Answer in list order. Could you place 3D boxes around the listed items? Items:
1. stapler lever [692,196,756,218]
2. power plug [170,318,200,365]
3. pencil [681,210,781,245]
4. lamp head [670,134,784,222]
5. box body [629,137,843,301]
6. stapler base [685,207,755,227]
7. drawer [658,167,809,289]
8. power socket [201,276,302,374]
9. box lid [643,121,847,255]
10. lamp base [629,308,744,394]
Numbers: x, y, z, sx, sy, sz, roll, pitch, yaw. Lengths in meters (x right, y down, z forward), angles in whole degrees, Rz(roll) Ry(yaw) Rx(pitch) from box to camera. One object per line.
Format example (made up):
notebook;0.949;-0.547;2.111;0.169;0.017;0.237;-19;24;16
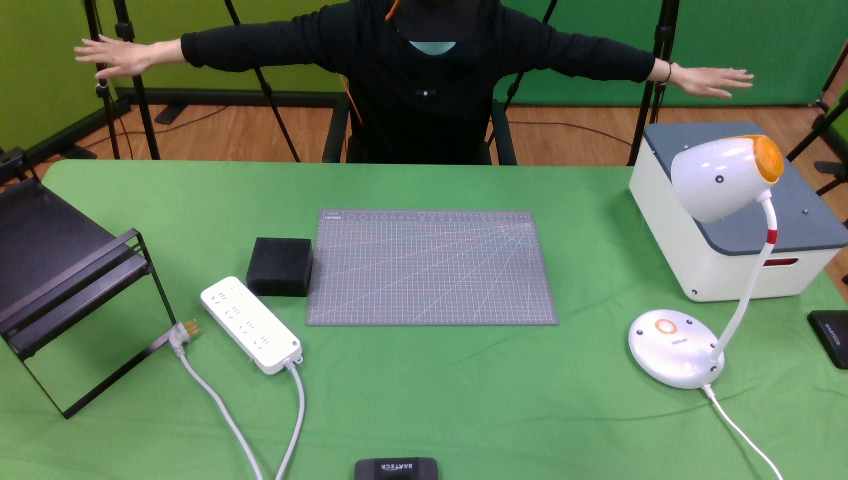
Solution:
stapler lever;0.588;-0.065;1.185;0.118;0.040;0.026;2;57;12
power plug;-0.392;0.167;1.013;0.052;0.035;0.072;-31;89;-23
pencil;0.599;-0.027;1.186;0.194;0.012;0.012;19;48;10
lamp head;0.422;-0.089;0.829;0.113;0.123;0.112;8;74;-32
box body;0.593;-0.062;1.202;0.254;0.161;0.361;-3;47;-7
stapler base;0.590;-0.051;1.205;0.130;0.024;0.041;3;58;11
drawer;0.584;-0.024;1.163;0.194;0.073;0.210;-11;55;2
power socket;-0.297;0.141;1.034;0.072;0.033;0.225;-34;58;-30
box lid;0.596;-0.115;1.150;0.263;0.015;0.369;-3;46;-7
lamp base;0.446;0.139;0.987;0.161;0.181;0.178;-19;53;-20
